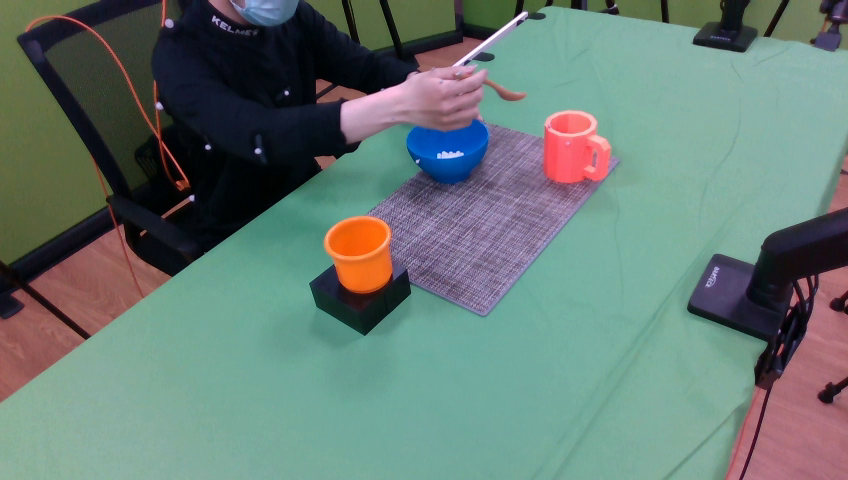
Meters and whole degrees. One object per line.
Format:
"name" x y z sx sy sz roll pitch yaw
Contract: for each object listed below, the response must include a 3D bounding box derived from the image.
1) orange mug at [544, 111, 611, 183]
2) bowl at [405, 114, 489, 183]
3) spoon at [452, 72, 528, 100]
"orange mug" 0.266 -0.157 1.049 0.084 0.101 0.125 -33 42 -27
"bowl" 0.045 -0.157 1.096 0.151 0.077 0.150 -4 40 4
"spoon" 0.103 -0.242 0.946 0.041 0.021 0.195 4 1 40
